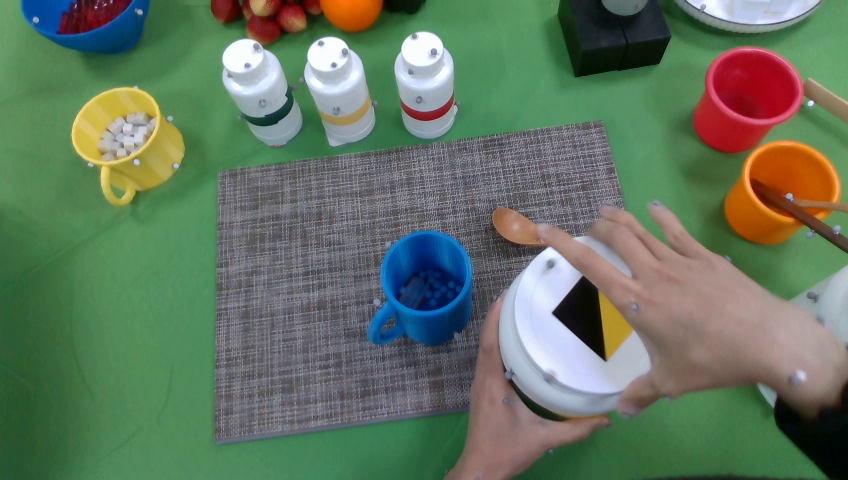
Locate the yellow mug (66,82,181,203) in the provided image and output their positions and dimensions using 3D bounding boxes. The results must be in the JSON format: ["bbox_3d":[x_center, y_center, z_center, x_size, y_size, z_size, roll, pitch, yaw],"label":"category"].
[{"bbox_3d":[-0.341,-0.105,0.685,0.100,0.064,0.130,2,70,4],"label":"yellow mug"}]

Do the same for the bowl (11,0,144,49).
[{"bbox_3d":[-0.412,-0.294,0.755,0.151,0.077,0.150,-1,69,3],"label":"bowl"}]

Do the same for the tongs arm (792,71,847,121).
[{"bbox_3d":[0.573,-0.074,0.637,0.382,0.027,0.050,43,72,16],"label":"tongs arm"}]

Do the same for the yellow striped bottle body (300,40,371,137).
[{"bbox_3d":[-0.098,-0.171,0.668,0.063,0.121,0.062,-1,68,4],"label":"yellow striped bottle body"}]

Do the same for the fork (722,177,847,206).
[{"bbox_3d":[0.379,-0.036,0.572,0.028,0.019,0.205,-35,26,-18],"label":"fork"}]

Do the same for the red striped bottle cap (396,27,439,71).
[{"bbox_3d":[-0.007,-0.194,0.615,0.044,0.018,0.044,0,67,0],"label":"red striped bottle cap"}]

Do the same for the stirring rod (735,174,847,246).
[{"bbox_3d":[0.349,-0.033,0.581,0.014,0.006,0.174,-5,25,-2],"label":"stirring rod"}]

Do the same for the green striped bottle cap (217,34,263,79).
[{"bbox_3d":[-0.189,-0.189,0.623,0.044,0.020,0.044,0,68,1],"label":"green striped bottle cap"}]

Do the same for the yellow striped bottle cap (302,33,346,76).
[{"bbox_3d":[-0.102,-0.190,0.619,0.044,0.019,0.044,1,64,-1],"label":"yellow striped bottle cap"}]

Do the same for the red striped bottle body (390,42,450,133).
[{"bbox_3d":[-0.003,-0.174,0.664,0.063,0.120,0.062,-1,68,3],"label":"red striped bottle body"}]

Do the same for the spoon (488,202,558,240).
[{"bbox_3d":[0.157,0.006,0.634,0.193,0.022,0.041,22,49,10],"label":"spoon"}]

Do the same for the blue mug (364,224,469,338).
[{"bbox_3d":[-0.010,0.052,0.580,0.116,0.106,0.082,-40,71,-11],"label":"blue mug"}]

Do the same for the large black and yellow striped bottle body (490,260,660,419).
[{"bbox_3d":[0.125,0.079,0.519,0.131,0.185,0.130,-1,69,4],"label":"large black and yellow striped bottle body"}]

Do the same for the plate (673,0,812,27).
[{"bbox_3d":[0.385,-0.345,0.751,0.209,0.038,0.207,-1,69,3],"label":"plate"}]

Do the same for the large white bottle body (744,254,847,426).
[{"bbox_3d":[0.372,0.082,0.508,0.130,0.186,0.129,-1,68,3],"label":"large white bottle body"}]

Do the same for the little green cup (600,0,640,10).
[{"bbox_3d":[0.225,-0.294,0.686,0.061,0.039,0.061,-1,67,2],"label":"little green cup"}]

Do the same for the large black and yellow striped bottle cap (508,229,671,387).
[{"bbox_3d":[0.118,0.047,0.438,0.115,0.019,0.114,-1,73,3],"label":"large black and yellow striped bottle cap"}]

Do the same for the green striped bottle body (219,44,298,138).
[{"bbox_3d":[-0.185,-0.170,0.672,0.063,0.120,0.062,-1,68,3],"label":"green striped bottle body"}]
